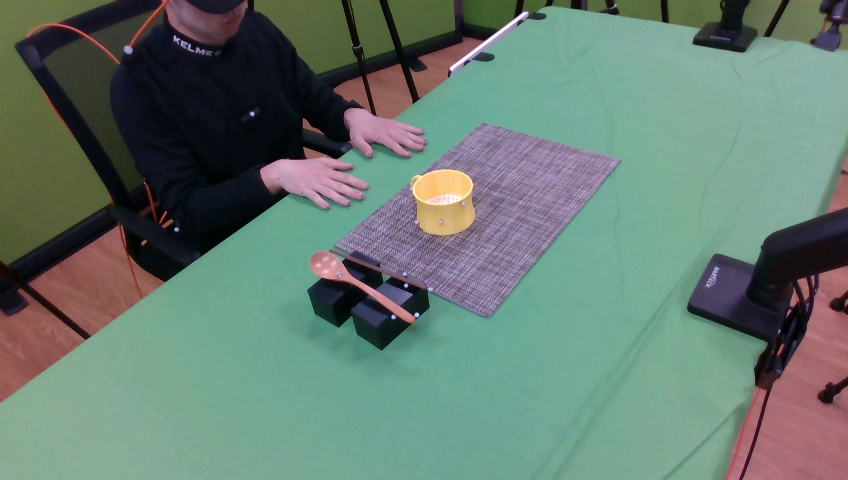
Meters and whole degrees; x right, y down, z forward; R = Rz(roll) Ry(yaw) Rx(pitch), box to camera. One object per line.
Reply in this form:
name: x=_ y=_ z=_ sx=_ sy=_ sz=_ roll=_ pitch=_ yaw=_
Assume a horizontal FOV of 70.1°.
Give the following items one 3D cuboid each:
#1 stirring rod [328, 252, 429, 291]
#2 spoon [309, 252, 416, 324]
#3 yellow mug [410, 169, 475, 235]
stirring rod: x=-0.068 y=0.043 z=0.860 sx=0.175 sy=0.006 sz=0.014 roll=18 pitch=13 yaw=28
spoon: x=-0.087 y=0.066 z=0.830 sx=0.192 sy=0.022 sz=0.042 roll=28 pitch=53 yaw=32
yellow mug: x=0.022 y=-0.070 z=1.007 sx=0.129 sy=0.064 sz=0.100 roll=29 pitch=52 yaw=36
